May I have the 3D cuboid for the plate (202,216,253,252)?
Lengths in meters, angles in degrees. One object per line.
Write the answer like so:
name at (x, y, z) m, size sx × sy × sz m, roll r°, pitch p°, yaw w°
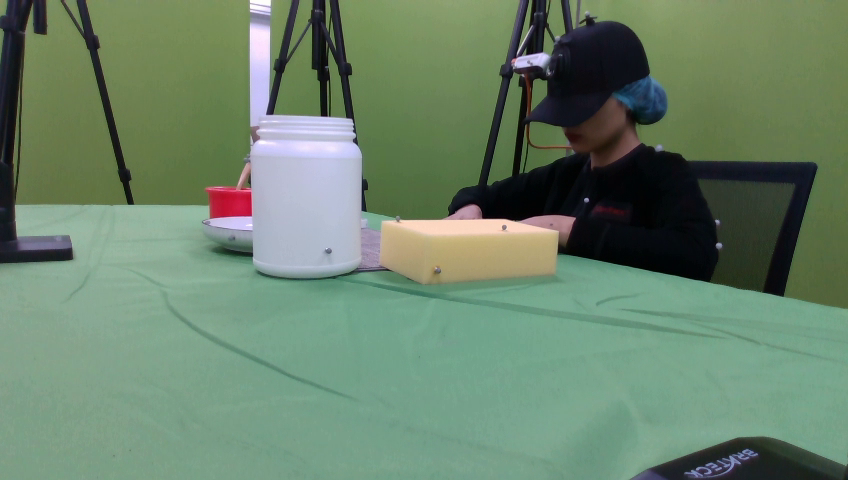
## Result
plate at (-0.223, -0.010, 0.909) m, size 0.209 × 0.038 × 0.209 m, roll 2°, pitch 7°, yaw 0°

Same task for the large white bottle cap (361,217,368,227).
large white bottle cap at (-0.171, -0.038, 1.234) m, size 0.115 × 0.018 × 0.115 m, roll 2°, pitch 5°, yaw 0°

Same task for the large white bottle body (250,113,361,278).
large white bottle body at (-0.141, -0.057, 0.727) m, size 0.131 × 0.184 × 0.130 m, roll 1°, pitch 10°, yaw 0°

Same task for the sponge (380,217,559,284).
sponge at (0.059, 0.008, 0.786) m, size 0.208 × 0.061 × 0.117 m, roll -3°, pitch 11°, yaw -32°

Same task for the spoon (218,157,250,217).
spoon at (-0.332, -0.091, 1.091) m, size 0.041 × 0.021 × 0.193 m, roll 3°, pitch 51°, yaw 5°
